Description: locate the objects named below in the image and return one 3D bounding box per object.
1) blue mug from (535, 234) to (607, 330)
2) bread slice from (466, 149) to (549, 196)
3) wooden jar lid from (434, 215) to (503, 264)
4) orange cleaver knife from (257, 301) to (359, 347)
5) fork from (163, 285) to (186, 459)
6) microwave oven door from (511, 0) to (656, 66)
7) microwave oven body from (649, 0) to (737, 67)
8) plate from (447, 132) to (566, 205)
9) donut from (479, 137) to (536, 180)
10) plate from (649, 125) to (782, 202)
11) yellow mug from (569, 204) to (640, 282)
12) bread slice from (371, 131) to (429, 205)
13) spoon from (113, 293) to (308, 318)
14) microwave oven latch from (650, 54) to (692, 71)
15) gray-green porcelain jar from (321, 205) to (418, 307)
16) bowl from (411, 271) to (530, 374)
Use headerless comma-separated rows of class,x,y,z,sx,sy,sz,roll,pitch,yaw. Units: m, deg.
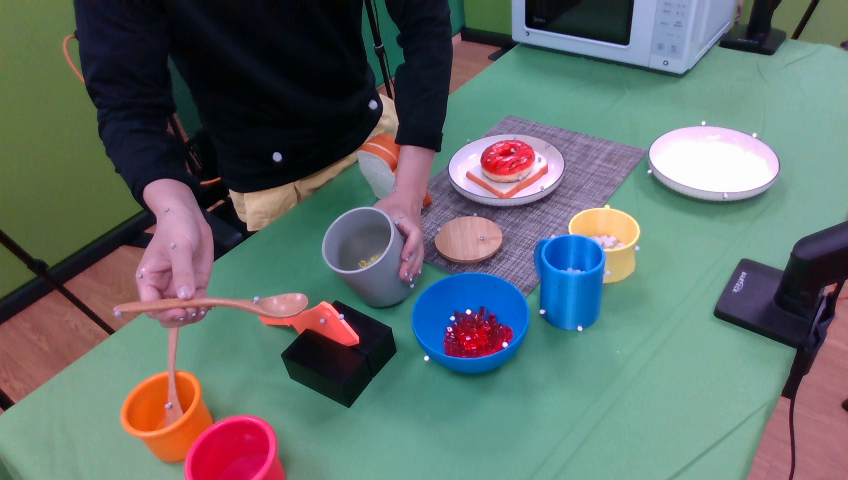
blue mug,0.190,0.048,0.824,0.082,0.106,0.115,-26,44,-20
bread slice,0.156,-0.128,1.085,0.132,0.019,0.104,-34,48,-23
wooden jar lid,0.070,0.001,0.956,0.108,0.021,0.108,-4,40,4
orange cleaver knife,-0.161,0.115,0.813,0.210,0.077,0.012,-8,29,48
fork,-0.303,0.157,0.733,0.028,0.019,0.207,-3,84,12
microwave oven door,0.350,-0.539,1.348,0.353,0.245,0.039,24,50,31
microwave oven body,0.475,-0.602,1.411,0.438,0.261,0.327,23,50,32
plate,0.145,-0.124,1.076,0.209,0.038,0.208,-3,41,3
donut,0.145,-0.143,1.056,0.099,0.048,0.098,-6,42,6
plate,0.493,-0.127,1.036,0.207,0.039,0.206,-4,41,4
yellow mug,0.268,-0.005,0.904,0.099,0.064,0.130,7,41,15
bread slice,-0.044,-0.125,1.037,0.106,0.135,0.018,31,63,34
spoon,-0.218,0.068,0.636,0.195,0.021,0.041,5,30,-32
microwave oven latch,0.531,-0.386,1.301,0.078,0.029,0.030,25,51,33
gray-green porcelain jar,-0.071,0.028,0.855,0.105,0.127,0.105,-9,56,15
bowl,0.062,0.120,0.780,0.151,0.077,0.150,-4,40,4
